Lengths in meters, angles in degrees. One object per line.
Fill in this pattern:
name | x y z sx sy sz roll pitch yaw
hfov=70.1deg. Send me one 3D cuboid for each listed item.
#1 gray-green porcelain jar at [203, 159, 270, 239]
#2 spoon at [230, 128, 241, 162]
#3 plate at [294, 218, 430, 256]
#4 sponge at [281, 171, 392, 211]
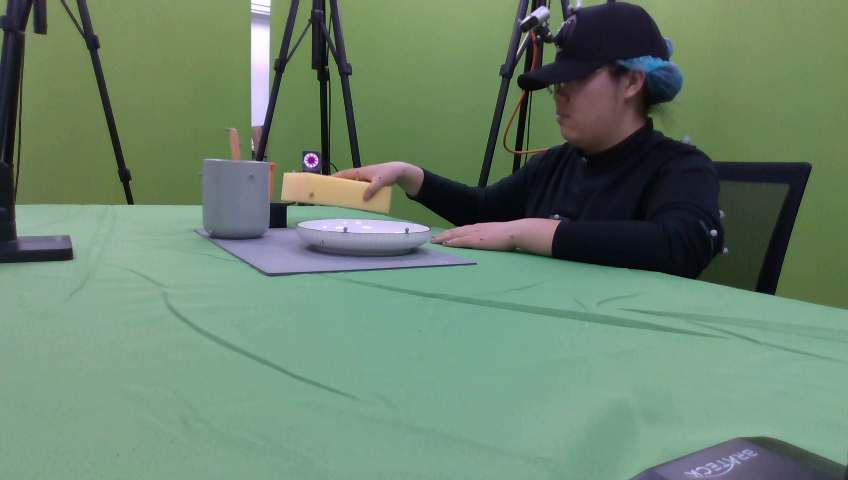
gray-green porcelain jar | -0.310 -0.068 0.999 0.106 0.126 0.106 3 8 0
spoon | -0.314 -0.109 1.025 0.042 0.193 0.021 -5 -19 -16
plate | -0.096 -0.005 0.936 0.208 0.039 0.207 3 7 0
sponge | -0.187 -0.104 1.303 0.208 0.061 0.117 6 1 -37
